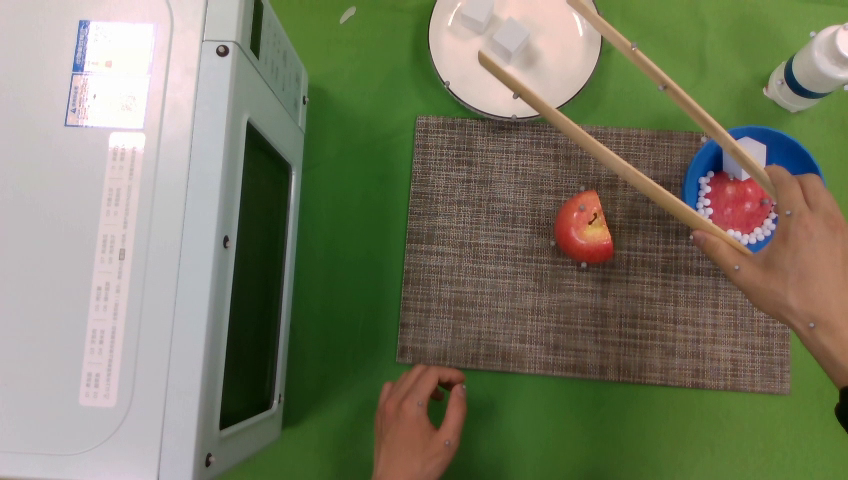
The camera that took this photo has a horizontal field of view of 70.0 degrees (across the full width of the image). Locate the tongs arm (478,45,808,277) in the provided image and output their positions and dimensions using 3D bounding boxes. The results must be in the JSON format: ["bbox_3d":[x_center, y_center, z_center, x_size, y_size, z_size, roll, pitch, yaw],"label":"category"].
[{"bbox_3d":[0.187,-0.089,0.592,0.028,0.028,0.384,-41,64,-11],"label":"tongs arm"}]

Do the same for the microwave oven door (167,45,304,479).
[{"bbox_3d":[-0.172,0.030,0.590,0.039,0.244,0.354,2,82,3],"label":"microwave oven door"}]

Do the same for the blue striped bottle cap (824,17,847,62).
[{"bbox_3d":[0.442,-0.208,0.626,0.044,0.020,0.044,0,85,2],"label":"blue striped bottle cap"}]

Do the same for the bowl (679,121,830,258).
[{"bbox_3d":[0.353,-0.049,0.678,0.151,0.077,0.151,0,82,3],"label":"bowl"}]

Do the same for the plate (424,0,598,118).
[{"bbox_3d":[0.104,-0.245,0.737,0.207,0.039,0.207,0,83,2],"label":"plate"}]

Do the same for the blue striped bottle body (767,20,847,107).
[{"bbox_3d":[0.444,-0.199,0.677,0.063,0.121,0.063,0,82,3],"label":"blue striped bottle body"}]

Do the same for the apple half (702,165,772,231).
[{"bbox_3d":[0.354,-0.048,0.674,0.081,0.033,0.081,0,82,3],"label":"apple half"}]

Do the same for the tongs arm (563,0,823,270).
[{"bbox_3d":[0.239,-0.129,0.596,0.051,0.027,0.381,-35,64,-4],"label":"tongs arm"}]

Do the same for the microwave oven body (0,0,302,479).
[{"bbox_3d":[-0.316,-0.017,0.606,0.326,0.261,0.440,2,83,2],"label":"microwave oven body"}]

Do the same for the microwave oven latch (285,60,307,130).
[{"bbox_3d":[-0.155,-0.172,0.718,0.030,0.029,0.079,3,83,2],"label":"microwave oven latch"}]

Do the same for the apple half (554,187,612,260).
[{"bbox_3d":[0.174,-0.014,0.683,0.053,0.075,0.080,-15,86,4],"label":"apple half"}]
